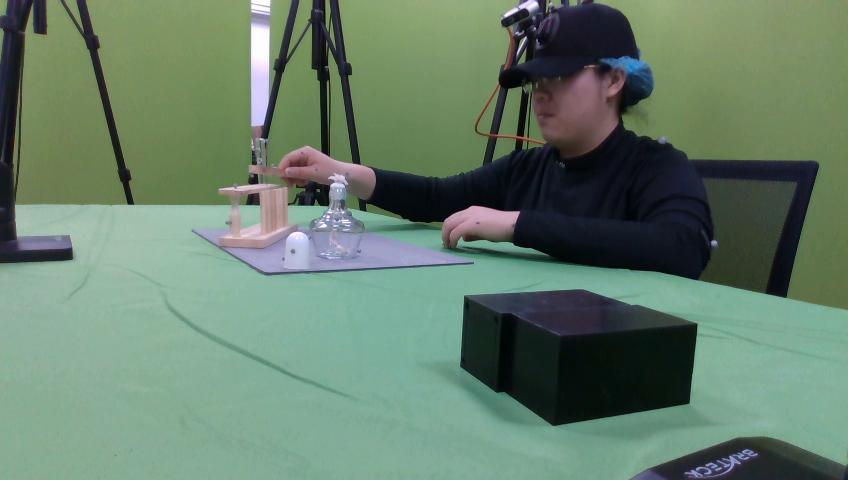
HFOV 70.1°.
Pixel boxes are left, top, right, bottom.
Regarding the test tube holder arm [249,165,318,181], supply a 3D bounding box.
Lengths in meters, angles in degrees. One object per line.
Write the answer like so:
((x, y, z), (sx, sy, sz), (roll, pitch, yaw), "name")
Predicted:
((-0.257, -0.123, 1.126), (0.013, 0.015, 0.179), (7, 3, 27), "test tube holder arm")

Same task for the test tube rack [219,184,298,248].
((-0.266, -0.046, 1.001), (0.067, 0.085, 0.242), (2, 7, 0), "test tube rack")

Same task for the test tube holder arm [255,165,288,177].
((-0.271, -0.123, 1.083), (0.010, 0.015, 0.088), (6, 3, 20), "test tube holder arm")

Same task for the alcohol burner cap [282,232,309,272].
((-0.157, 0.014, 0.740), (0.034, 0.048, 0.034), (3, 6, 0), "alcohol burner cap")

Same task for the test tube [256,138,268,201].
((-0.285, -0.104, 1.066), (0.017, 0.150, 0.017), (-1, 10, 0), "test tube")

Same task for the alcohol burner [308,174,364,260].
((-0.121, -0.033, 0.841), (0.078, 0.119, 0.078), (3, 5, 0), "alcohol burner")
